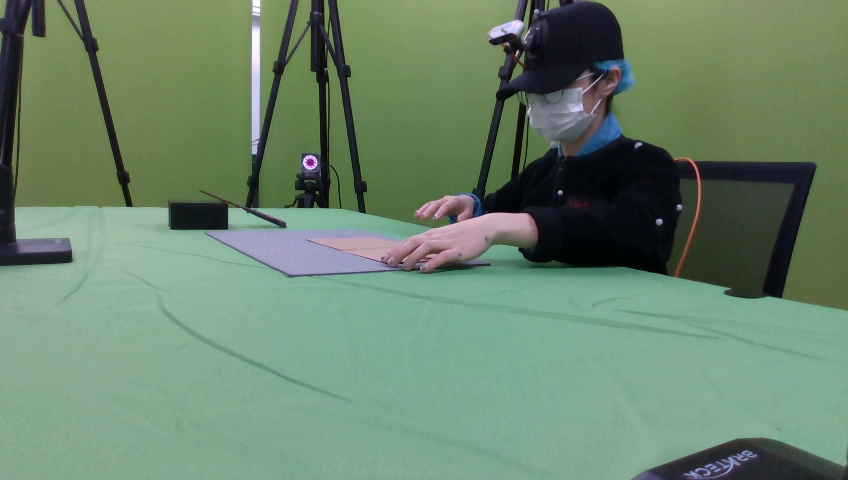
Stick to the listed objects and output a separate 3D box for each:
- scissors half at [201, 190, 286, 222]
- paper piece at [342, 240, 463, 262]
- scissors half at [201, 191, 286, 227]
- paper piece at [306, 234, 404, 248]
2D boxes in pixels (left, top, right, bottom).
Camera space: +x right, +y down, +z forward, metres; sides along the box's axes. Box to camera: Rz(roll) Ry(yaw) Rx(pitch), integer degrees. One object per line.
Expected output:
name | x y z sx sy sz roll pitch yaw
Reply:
scissors half | -0.364 -0.068 1.225 0.176 0.013 0.040 21 8 -27
paper piece | -0.033 0.017 0.908 0.137 0.008 0.137 -7 12 -34
scissors half | -0.359 -0.063 1.206 0.175 0.013 0.040 22 2 -10
paper piece | -0.110 0.000 1.015 0.136 0.004 0.135 -4 9 -35
